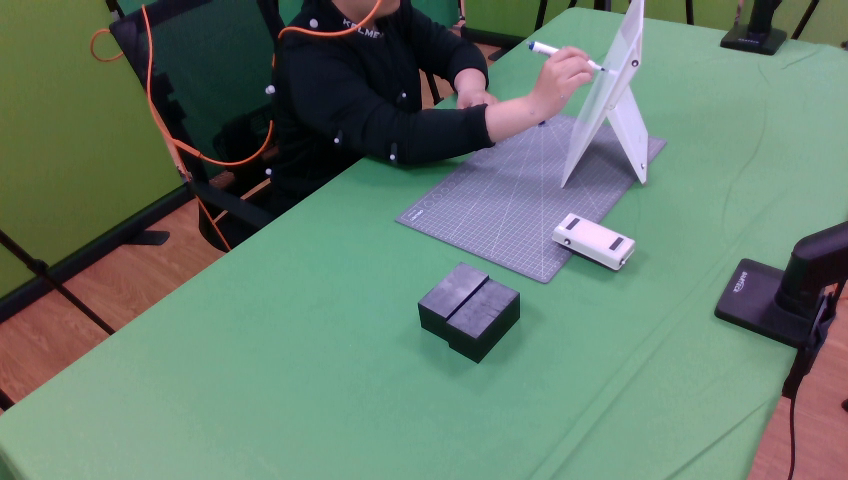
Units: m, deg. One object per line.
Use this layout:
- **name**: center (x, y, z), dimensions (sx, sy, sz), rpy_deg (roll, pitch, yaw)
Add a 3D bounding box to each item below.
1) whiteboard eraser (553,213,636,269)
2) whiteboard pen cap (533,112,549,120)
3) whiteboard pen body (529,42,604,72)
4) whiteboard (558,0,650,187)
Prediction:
- **whiteboard eraser**: center (0.258, 0.003, 0.918), dimensions (0.112, 0.042, 0.056), rpy_deg (27, 49, 30)
- **whiteboard pen cap**: center (0.239, -0.254, 1.238), dimensions (0.018, 0.018, 0.033), rpy_deg (-29, 27, -23)
- **whiteboard pen body**: center (0.247, -0.313, 1.042), dimensions (0.141, 0.017, 0.017), rpy_deg (16, 41, -9)
- **whiteboard**: center (0.362, -0.238, 1.026), dimensions (0.144, 0.306, 0.217), rpy_deg (21, 45, 4)
